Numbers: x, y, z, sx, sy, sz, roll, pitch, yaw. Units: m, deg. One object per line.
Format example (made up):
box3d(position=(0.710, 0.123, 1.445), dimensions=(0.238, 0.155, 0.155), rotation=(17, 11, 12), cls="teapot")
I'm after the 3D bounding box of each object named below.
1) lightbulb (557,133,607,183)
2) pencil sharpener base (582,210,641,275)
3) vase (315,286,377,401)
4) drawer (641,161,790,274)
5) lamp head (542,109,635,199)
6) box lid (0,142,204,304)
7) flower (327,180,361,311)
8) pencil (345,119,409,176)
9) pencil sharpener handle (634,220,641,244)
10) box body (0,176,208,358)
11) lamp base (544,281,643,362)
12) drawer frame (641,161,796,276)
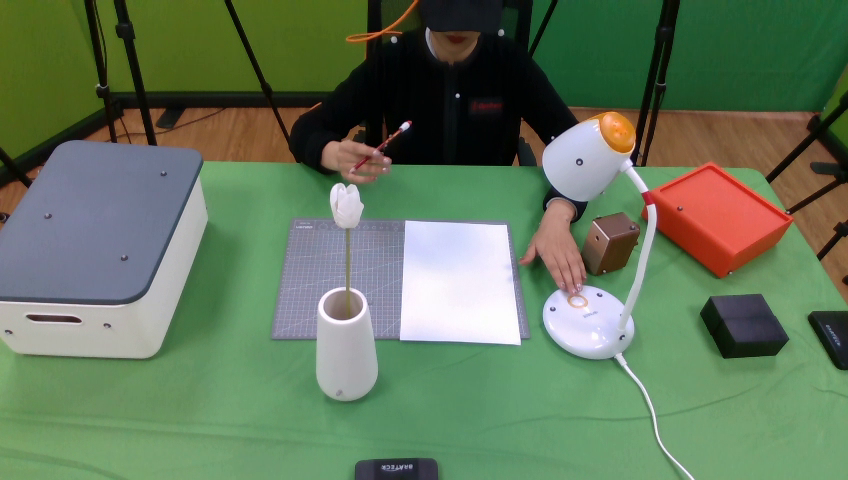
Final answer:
box3d(position=(0.243, -0.127, 0.916), dimensions=(0.059, 0.108, 0.059), rotation=(5, 67, -13), cls="lightbulb")
box3d(position=(0.357, 0.005, 1.156), dimensions=(0.077, 0.107, 0.061), rotation=(-15, 48, -18), cls="pencil sharpener base")
box3d(position=(-0.119, 0.159, 0.911), dimensions=(0.098, 0.201, 0.097), rotation=(2, 47, -2), cls="vase")
box3d(position=(0.596, -0.051, 1.246), dimensions=(0.194, 0.073, 0.210), rotation=(-23, 53, -25), cls="drawer")
box3d(position=(0.253, -0.131, 0.893), dimensions=(0.113, 0.123, 0.112), rotation=(10, 66, -24), cls="lamp head")
box3d(position=(-0.534, -0.044, 0.995), dimensions=(0.263, 0.015, 0.369), rotation=(3, 45, -3), cls="box lid")
box3d(position=(-0.110, 0.086, 0.867), dimensions=(0.044, 0.363, 0.038), rotation=(22, 33, 35), cls="flower")
box3d(position=(-0.085, -0.170, 1.109), dimensions=(0.012, 0.012, 0.193), rotation=(26, 52, 20), cls="pencil")
box3d(position=(0.405, -0.015, 1.162), dimensions=(0.031, 0.068, 0.035), rotation=(-15, 45, -18), cls="pencil sharpener handle")
box3d(position=(-0.546, 0.017, 1.045), dimensions=(0.254, 0.161, 0.361), rotation=(2, 46, -2), cls="box body")
box3d(position=(0.304, 0.095, 1.014), dimensions=(0.161, 0.181, 0.178), rotation=(-24, 54, -24), cls="lamp base")
box3d(position=(0.599, -0.051, 1.244), dimensions=(0.202, 0.083, 0.212), rotation=(-24, 52, -25), cls="drawer frame")
